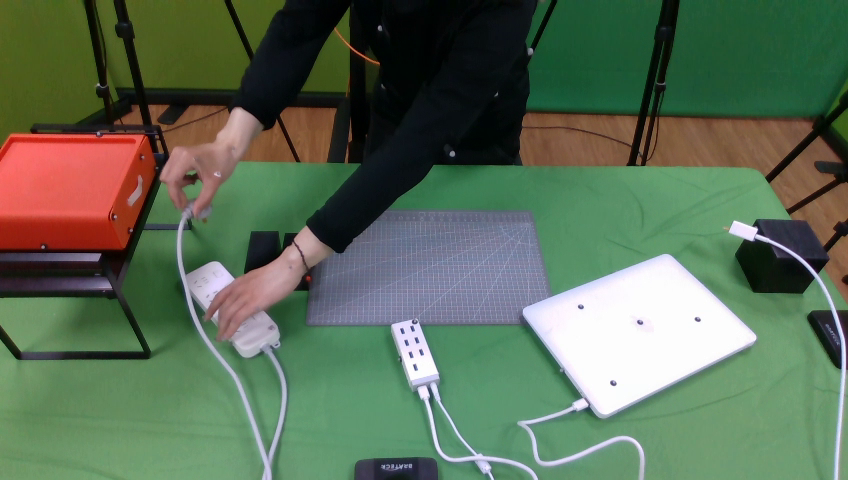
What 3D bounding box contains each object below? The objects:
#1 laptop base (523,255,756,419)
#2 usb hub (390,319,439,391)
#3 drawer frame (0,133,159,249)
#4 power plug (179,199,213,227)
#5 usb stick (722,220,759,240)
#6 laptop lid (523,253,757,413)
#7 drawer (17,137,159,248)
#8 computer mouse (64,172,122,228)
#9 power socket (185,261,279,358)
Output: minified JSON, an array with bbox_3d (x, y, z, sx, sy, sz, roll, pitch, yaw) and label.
[{"bbox_3d":[0.381,0.157,1.080,0.355,0.023,0.234,-18,48,-20],"label":"laptop base"},{"bbox_3d":[-0.016,0.190,1.013,0.049,0.025,0.124,-10,48,-15],"label":"usb hub"},{"bbox_3d":[-0.553,-0.078,0.942,0.214,0.083,0.200,-1,47,-4],"label":"drawer frame"},{"bbox_3d":[-0.377,-0.038,0.989,0.035,0.053,0.072,23,56,20],"label":"power plug"},{"bbox_3d":[0.593,-0.021,1.139,0.059,0.027,0.021,22,12,28],"label":"usb stick"},{"bbox_3d":[0.380,0.147,1.073,0.357,0.013,0.240,-17,48,-19],"label":"laptop lid"},{"bbox_3d":[-0.549,-0.079,0.944,0.212,0.073,0.193,0,47,-3],"label":"drawer"},{"bbox_3d":[-0.521,-0.067,0.955,0.063,0.041,0.116,0,48,-9],"label":"computer mouse"},{"bbox_3d":[-0.336,0.117,1.054,0.072,0.033,0.225,-32,57,-29],"label":"power socket"}]
